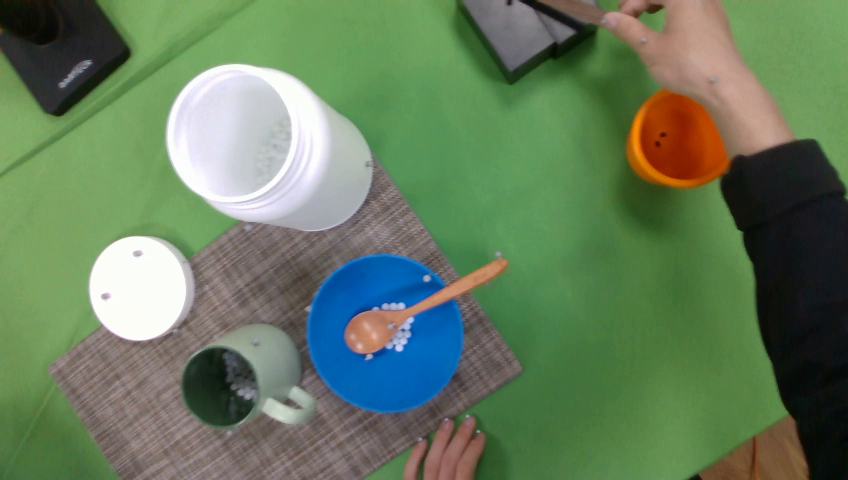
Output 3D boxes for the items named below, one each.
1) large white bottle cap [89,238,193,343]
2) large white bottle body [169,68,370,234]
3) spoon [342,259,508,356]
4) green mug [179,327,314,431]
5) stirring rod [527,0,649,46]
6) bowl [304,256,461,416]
[{"bbox_3d":[-0.311,0.055,0.665,0.114,0.018,0.115,0,90,7],"label":"large white bottle cap"},{"bbox_3d":[-0.133,-0.075,0.555,0.130,0.185,0.130,0,87,9],"label":"large white bottle body"},{"bbox_3d":[-0.003,0.064,0.568,0.193,0.021,0.041,-29,90,31],"label":"spoon"},{"bbox_3d":[-0.168,0.146,0.605,0.125,0.105,0.092,28,93,6],"label":"green mug"},{"bbox_3d":[0.120,-0.214,0.549,0.175,0.006,0.014,28,128,13],"label":"stirring rod"},{"bbox_3d":[-0.035,0.089,0.601,0.151,0.077,0.151,0,91,8],"label":"bowl"}]
